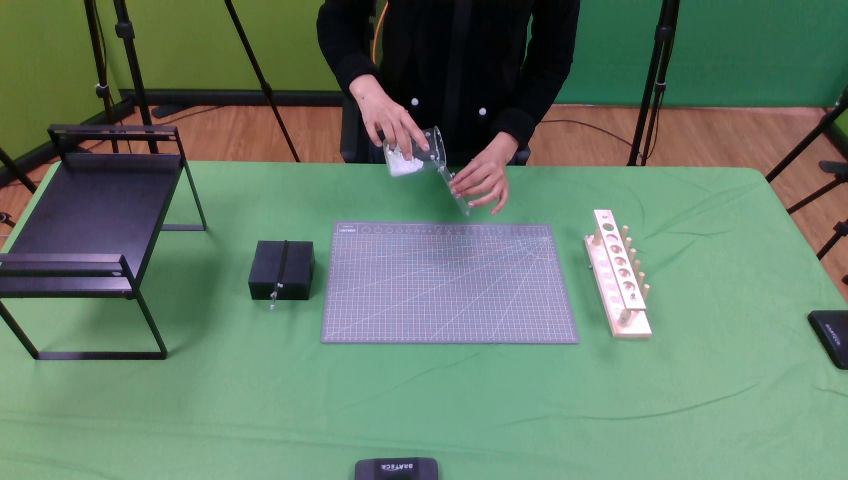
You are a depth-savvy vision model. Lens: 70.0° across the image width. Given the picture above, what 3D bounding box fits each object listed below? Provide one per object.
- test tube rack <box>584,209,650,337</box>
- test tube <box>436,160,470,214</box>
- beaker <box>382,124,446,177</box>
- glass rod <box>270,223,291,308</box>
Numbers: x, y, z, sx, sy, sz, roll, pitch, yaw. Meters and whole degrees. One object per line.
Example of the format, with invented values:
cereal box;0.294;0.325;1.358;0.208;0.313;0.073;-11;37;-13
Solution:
test tube rack;0.365;0.056;1.129;0.067;0.085;0.240;1;46;-4
test tube;0.057;-0.097;1.152;0.017;0.151;0.017;-14;50;18
beaker;-0.019;-0.153;1.064;0.100;0.084;0.073;-14;51;-5
glass rod;-0.255;0.041;1.081;0.008;0.008;0.198;2;46;-2
